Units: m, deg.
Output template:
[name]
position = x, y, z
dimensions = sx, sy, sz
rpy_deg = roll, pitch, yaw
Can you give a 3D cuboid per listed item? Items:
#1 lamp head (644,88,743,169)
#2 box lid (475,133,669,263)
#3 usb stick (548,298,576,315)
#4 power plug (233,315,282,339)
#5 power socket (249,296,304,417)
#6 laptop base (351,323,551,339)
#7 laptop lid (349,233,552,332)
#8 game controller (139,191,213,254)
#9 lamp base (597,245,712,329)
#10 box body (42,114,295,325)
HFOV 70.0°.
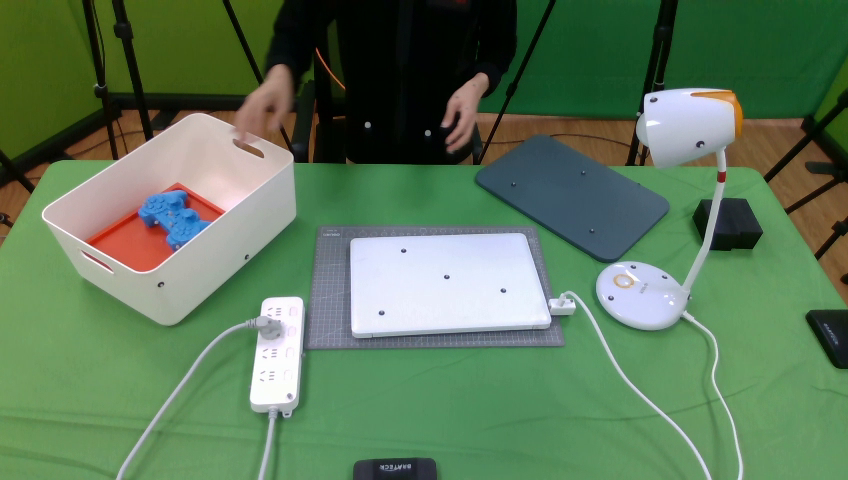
[lamp head]
position = 0.380, -0.161, 0.851
dimensions = 0.122, 0.113, 0.112
rpy_deg = -4, 42, 25
[box lid]
position = 0.323, -0.105, 1.334
dimensions = 0.369, 0.015, 0.263
rpy_deg = 36, 54, 27
[usb stick]
position = 0.240, 0.120, 1.086
dimensions = 0.059, 0.027, 0.021
rpy_deg = -2, 51, -2
[power plug]
position = -0.271, 0.144, 0.999
dimensions = 0.072, 0.053, 0.035
rpy_deg = 6, 47, 3
[power socket]
position = -0.240, 0.182, 0.996
dimensions = 0.072, 0.033, 0.225
rpy_deg = -2, 47, -5
[laptop base]
position = 0.040, 0.081, 1.125
dimensions = 0.355, 0.023, 0.234
rpy_deg = -2, 43, -6
[laptop lid]
position = 0.040, 0.071, 1.118
dimensions = 0.357, 0.013, 0.240
rpy_deg = -1, 44, -5
[game controller]
position = -0.436, -0.039, 1.081
dimensions = 0.154, 0.052, 0.097
rpy_deg = 36, 58, 27
[lamp base]
position = 0.418, 0.051, 1.071
dimensions = 0.179, 0.181, 0.160
rpy_deg = 22, 49, 13
[box body]
position = -0.437, -0.046, 1.110
dimensions = 0.253, 0.161, 0.363
rpy_deg = 24, 49, 19
